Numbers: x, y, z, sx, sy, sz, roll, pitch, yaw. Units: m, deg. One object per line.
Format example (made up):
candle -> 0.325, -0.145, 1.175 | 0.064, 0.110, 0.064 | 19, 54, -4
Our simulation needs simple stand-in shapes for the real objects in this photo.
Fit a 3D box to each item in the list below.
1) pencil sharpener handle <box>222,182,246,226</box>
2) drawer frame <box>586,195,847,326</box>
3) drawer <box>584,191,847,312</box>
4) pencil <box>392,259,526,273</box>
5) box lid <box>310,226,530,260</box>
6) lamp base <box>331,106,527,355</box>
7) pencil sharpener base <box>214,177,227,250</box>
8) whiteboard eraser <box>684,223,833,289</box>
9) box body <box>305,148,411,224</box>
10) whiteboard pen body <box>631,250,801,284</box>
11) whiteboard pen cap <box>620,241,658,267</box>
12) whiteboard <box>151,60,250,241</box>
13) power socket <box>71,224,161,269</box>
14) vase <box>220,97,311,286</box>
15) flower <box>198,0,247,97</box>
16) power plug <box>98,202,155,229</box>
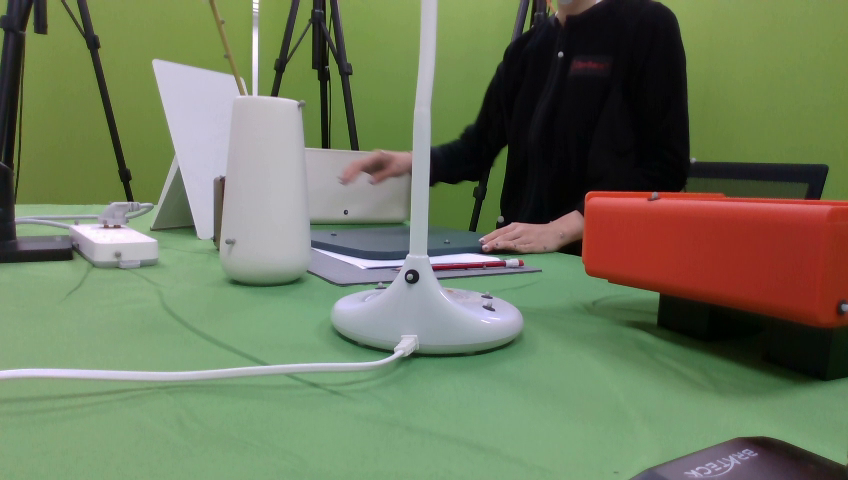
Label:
pencil sharpener handle -> -0.289, -0.055, 0.912 | 0.036, 0.067, 0.030 | -3, 9, -29
drawer frame -> 0.284, 0.004, 0.508 | 0.203, 0.082, 0.212 | -1, 6, -28
drawer -> 0.280, 0.001, 0.513 | 0.195, 0.073, 0.211 | 0, 8, -28
pencil -> 0.049, 0.035, 0.782 | 0.195, 0.012, 0.012 | -2, 9, -25
box lid -> -0.024, 0.001, 1.023 | 0.374, 0.015, 0.262 | -4, 9, -44
lamp base -> 0.006, -0.012, 0.478 | 0.161, 0.180, 0.179 | 2, 10, 2
pencil sharpener base -> -0.265, -0.036, 0.870 | 0.061, 0.107, 0.076 | -2, 8, -29
whiteboard eraser -> 0.305, 0.013, 0.558 | 0.056, 0.042, 0.112 | -9, 19, -31
box body -> -0.233, -0.127, 1.374 | 0.366, 0.160, 0.253 | -2, 8, -29
whiteboard pen body -> 0.240, 0.020, 0.512 | 0.017, 0.017, 0.140 | -4, 8, -41
whiteboard pen cap -> 0.199, 0.013, 0.557 | 0.018, 0.018, 0.033 | -4, 18, -40
whiteboard -> -0.408, -0.140, 1.094 | 0.143, 0.305, 0.218 | -15, 0, 25
power socket -> -0.408, 0.004, 0.793 | 0.072, 0.032, 0.225 | -2, 8, -38
vase -> -0.172, -0.052, 0.662 | 0.098, 0.200, 0.098 | 3, 8, 0
flower -> -0.187, -0.133, 0.648 | 0.038, 0.362, 0.044 | -1, 22, 43
power plug -> -0.416, -0.027, 0.848 | 0.073, 0.052, 0.035 | 0, 8, -28
